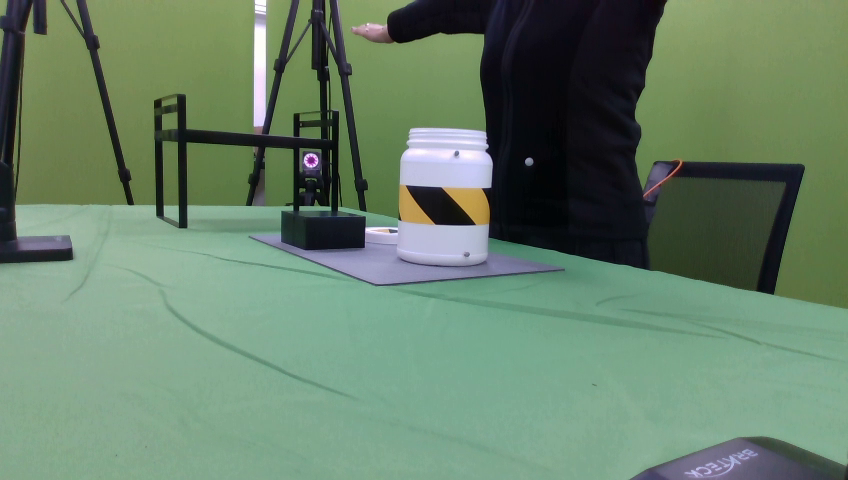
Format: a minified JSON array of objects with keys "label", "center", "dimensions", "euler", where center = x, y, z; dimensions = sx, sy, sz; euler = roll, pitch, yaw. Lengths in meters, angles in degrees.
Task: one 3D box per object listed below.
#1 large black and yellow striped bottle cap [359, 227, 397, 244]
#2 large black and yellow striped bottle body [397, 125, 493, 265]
[{"label":"large black and yellow striped bottle cap","center":[-0.056,-0.010,1.053],"dimensions":[0.115,0.019,0.115],"euler":[1,7,0]},{"label":"large black and yellow striped bottle body","center":[0.029,-0.064,0.847],"dimensions":[0.131,0.184,0.130],"euler":[2,7,0]}]
